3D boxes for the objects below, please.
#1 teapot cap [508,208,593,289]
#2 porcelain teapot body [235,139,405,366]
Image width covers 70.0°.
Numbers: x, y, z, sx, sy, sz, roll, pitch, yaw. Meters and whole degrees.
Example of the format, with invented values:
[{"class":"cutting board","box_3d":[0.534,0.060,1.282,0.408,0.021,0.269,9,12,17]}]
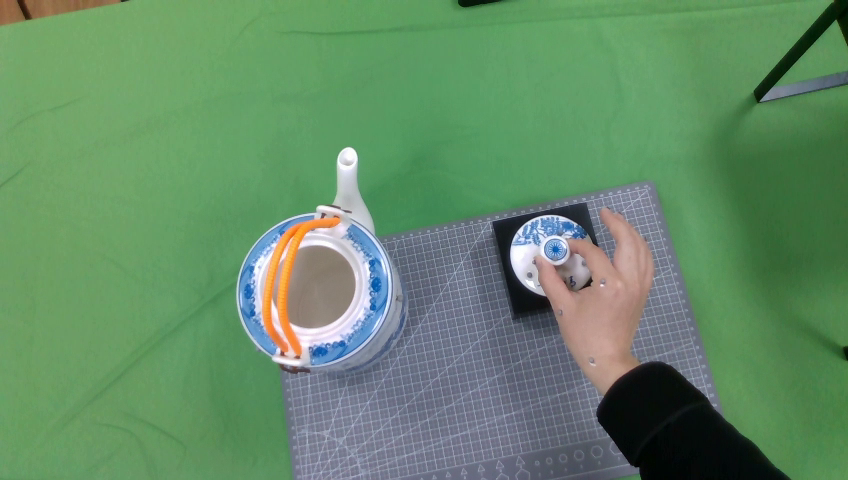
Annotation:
[{"class":"teapot cap","box_3d":[0.125,0.007,0.601,0.085,0.044,0.084,-1,73,5]},{"class":"porcelain teapot body","box_3d":[-0.093,0.013,0.574,0.145,0.226,0.204,10,77,7]}]
